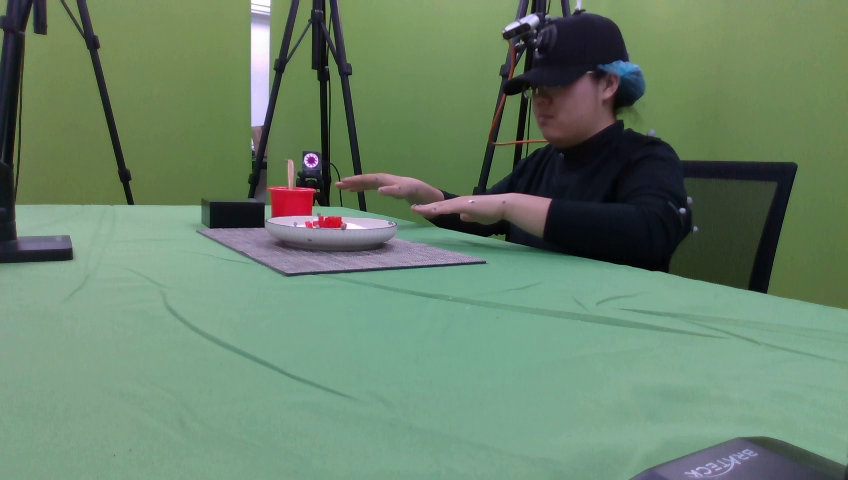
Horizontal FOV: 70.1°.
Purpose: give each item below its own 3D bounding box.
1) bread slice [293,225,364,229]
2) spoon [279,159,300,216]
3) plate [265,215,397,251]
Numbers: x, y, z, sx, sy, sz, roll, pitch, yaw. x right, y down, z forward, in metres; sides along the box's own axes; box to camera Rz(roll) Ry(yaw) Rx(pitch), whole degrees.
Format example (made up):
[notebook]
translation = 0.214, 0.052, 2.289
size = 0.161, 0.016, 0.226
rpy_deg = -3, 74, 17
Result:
[bread slice]
translation = -0.154, -0.012, 0.973
size = 0.132, 0.019, 0.104
rpy_deg = -1, 7, -31
[spoon]
translation = -0.282, -0.108, 1.276
size = 0.042, 0.021, 0.193
rpy_deg = 0, 52, -10
[plate]
translation = -0.147, -0.012, 0.963
size = 0.209, 0.038, 0.209
rpy_deg = 3, 7, 0
